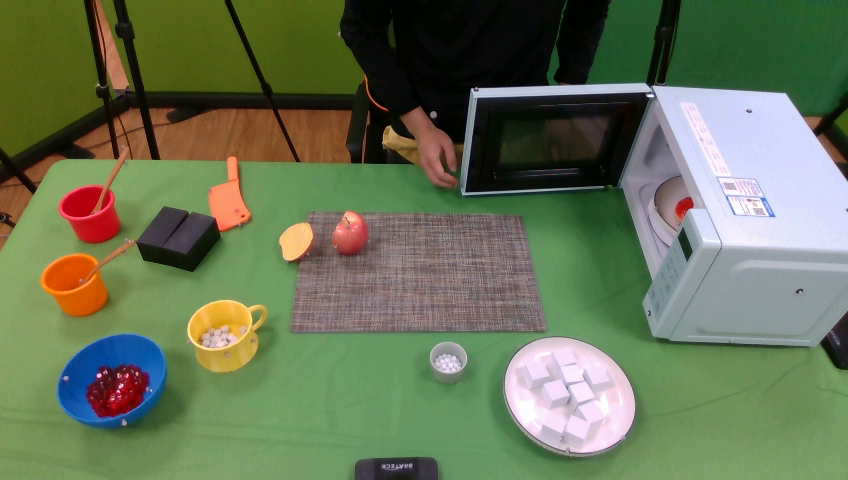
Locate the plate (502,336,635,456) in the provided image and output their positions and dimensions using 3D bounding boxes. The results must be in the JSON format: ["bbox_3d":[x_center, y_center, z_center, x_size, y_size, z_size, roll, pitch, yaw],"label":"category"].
[{"bbox_3d":[0.225,0.248,0.964,0.208,0.039,0.206,2,46,-2],"label":"plate"}]

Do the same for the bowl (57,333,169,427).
[{"bbox_3d":[-0.456,0.223,0.912,0.151,0.077,0.150,3,45,-2],"label":"bowl"}]

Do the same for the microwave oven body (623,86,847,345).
[{"bbox_3d":[0.567,-0.053,1.118,0.326,0.261,0.439,2,45,-1],"label":"microwave oven body"}]

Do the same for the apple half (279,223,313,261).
[{"bbox_3d":[-0.237,0.007,1.157,0.081,0.033,0.081,-14,58,23],"label":"apple half"}]

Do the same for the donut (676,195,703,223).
[{"bbox_3d":[0.538,-0.049,1.171,0.099,0.048,0.098,2,44,-1],"label":"donut"}]

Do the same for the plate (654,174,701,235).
[{"bbox_3d":[0.555,-0.049,1.186,0.209,0.038,0.208,2,46,-1],"label":"plate"}]

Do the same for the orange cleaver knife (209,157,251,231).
[{"bbox_3d":[-0.409,-0.099,1.266,0.077,0.012,0.210,-14,50,-10],"label":"orange cleaver knife"}]

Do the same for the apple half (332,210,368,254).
[{"bbox_3d":[-0.136,-0.010,1.158,0.053,0.075,0.080,17,44,8],"label":"apple half"}]

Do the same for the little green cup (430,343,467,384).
[{"bbox_3d":[0.039,0.203,0.994,0.061,0.039,0.061,2,46,-2],"label":"little green cup"}]

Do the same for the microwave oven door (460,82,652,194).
[{"bbox_3d":[0.259,-0.204,1.236,0.356,0.245,0.039,-4,46,-7],"label":"microwave oven door"}]

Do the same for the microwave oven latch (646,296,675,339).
[{"bbox_3d":[0.412,0.134,1.061,0.030,0.029,0.078,3,45,0],"label":"microwave oven latch"}]

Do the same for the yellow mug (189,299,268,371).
[{"bbox_3d":[-0.316,0.148,1.002,0.131,0.064,0.099,-33,56,-31],"label":"yellow mug"}]

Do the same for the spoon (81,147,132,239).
[{"bbox_3d":[-0.603,-0.089,1.156,0.041,0.022,0.193,28,95,20],"label":"spoon"}]

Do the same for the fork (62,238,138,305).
[{"bbox_3d":[-0.547,0.053,1.018,0.207,0.019,0.028,-36,41,23],"label":"fork"}]
